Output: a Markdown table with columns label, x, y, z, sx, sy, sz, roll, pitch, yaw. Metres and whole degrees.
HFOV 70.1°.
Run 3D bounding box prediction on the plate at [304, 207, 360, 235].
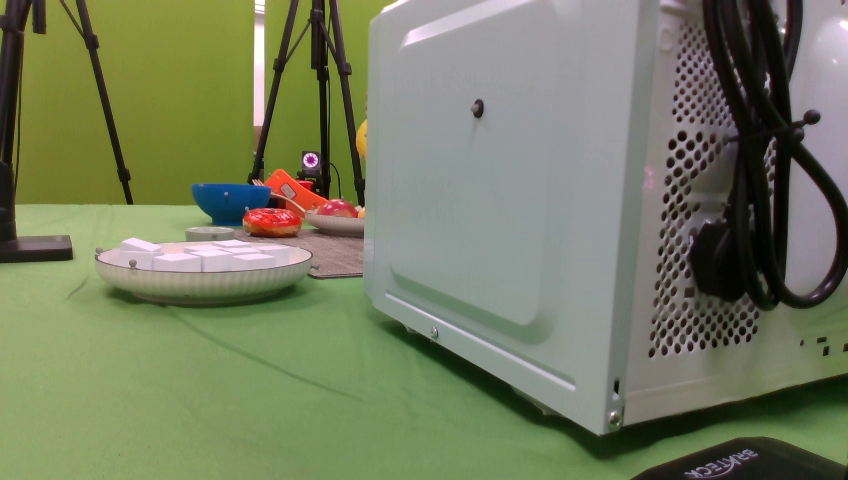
| label | x | y | z | sx | sy | sz | roll | pitch | yaw |
| --- | --- | --- | --- | --- | --- | --- | --- | --- | --- |
| plate | -0.123 | -0.037 | 1.149 | 0.209 | 0.038 | 0.209 | 2 | 7 | 0 |

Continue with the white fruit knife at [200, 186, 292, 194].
| label | x | y | z | sx | sy | sz | roll | pitch | yaw |
| --- | --- | --- | --- | --- | --- | --- | --- | --- | --- |
| white fruit knife | -0.399 | -0.111 | 1.368 | 0.208 | 0.016 | 0.027 | -4 | -19 | -30 |

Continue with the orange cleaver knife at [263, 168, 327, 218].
| label | x | y | z | sx | sy | sz | roll | pitch | yaw |
| --- | --- | --- | --- | --- | --- | --- | --- | --- | --- |
| orange cleaver knife | -0.262 | -0.088 | 1.353 | 0.211 | 0.077 | 0.012 | 28 | 13 | -1 |

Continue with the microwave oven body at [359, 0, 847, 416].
| label | x | y | z | sx | sy | sz | roll | pitch | yaw |
| --- | --- | --- | --- | --- | --- | --- | --- | --- | --- |
| microwave oven body | 0.211 | -0.047 | 0.474 | 0.444 | 0.260 | 0.324 | -1 | 7 | -28 |

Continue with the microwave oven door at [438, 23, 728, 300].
| label | x | y | z | sx | sy | sz | roll | pitch | yaw |
| --- | --- | --- | --- | --- | --- | --- | --- | --- | --- |
| microwave oven door | 0.181 | -0.072 | 0.621 | 0.358 | 0.243 | 0.039 | -2 | 8 | -29 |

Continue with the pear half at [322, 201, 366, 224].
| label | x | y | z | sx | sy | sz | roll | pitch | yaw |
| --- | --- | --- | --- | --- | --- | --- | --- | --- | --- |
| pear half | -0.157 | -0.059 | 1.197 | 0.088 | 0.031 | 0.070 | 12 | 30 | -4 |

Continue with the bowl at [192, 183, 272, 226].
| label | x | y | z | sx | sy | sz | roll | pitch | yaw |
| --- | --- | --- | --- | --- | --- | --- | --- | --- | --- |
| bowl | -0.381 | -0.071 | 1.202 | 0.151 | 0.077 | 0.151 | 3 | 7 | 0 |

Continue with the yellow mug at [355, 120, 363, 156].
| label | x | y | z | sx | sy | sz | roll | pitch | yaw |
| --- | --- | --- | --- | --- | --- | --- | --- | --- | --- |
| yellow mug | -0.066 | -0.185 | 1.065 | 0.100 | 0.131 | 0.063 | -20 | 40 | -19 |

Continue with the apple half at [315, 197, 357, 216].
| label | x | y | z | sx | sy | sz | roll | pitch | yaw |
| --- | --- | --- | --- | --- | --- | --- | --- | --- | --- |
| apple half | -0.162 | -0.052 | 1.121 | 0.081 | 0.053 | 0.074 | 4 | 8 | -14 |

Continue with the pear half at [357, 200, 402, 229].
| label | x | y | z | sx | sy | sz | roll | pitch | yaw |
| --- | --- | --- | --- | --- | --- | --- | --- | --- | --- |
| pear half | -0.075 | -0.046 | 1.132 | 0.076 | 0.056 | 0.110 | 12 | 6 | 31 |

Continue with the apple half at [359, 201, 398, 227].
| label | x | y | z | sx | sy | sz | roll | pitch | yaw |
| --- | --- | --- | --- | --- | --- | --- | --- | --- | --- |
| apple half | -0.088 | -0.058 | 1.191 | 0.081 | 0.033 | 0.081 | 9 | 30 | -5 |

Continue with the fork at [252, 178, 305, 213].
| label | x | y | z | sx | sy | sz | roll | pitch | yaw |
| --- | --- | --- | --- | --- | --- | --- | --- | --- | --- |
| fork | -0.295 | -0.084 | 1.292 | 0.206 | 0.018 | 0.028 | 29 | 10 | 25 |

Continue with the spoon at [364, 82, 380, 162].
| label | x | y | z | sx | sy | sz | roll | pitch | yaw |
| --- | --- | --- | --- | --- | --- | --- | --- | --- | --- |
| spoon | -0.092 | -0.225 | 1.139 | 0.021 | 0.193 | 0.042 | -19 | -36 | 33 |

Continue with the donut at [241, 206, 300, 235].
| label | x | y | z | sx | sy | sz | roll | pitch | yaw |
| --- | --- | --- | --- | --- | --- | --- | --- | --- | --- |
| donut | -0.263 | -0.032 | 1.039 | 0.099 | 0.048 | 0.099 | 4 | 10 | 0 |

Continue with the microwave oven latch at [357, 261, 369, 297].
| label | x | y | z | sx | sy | sz | roll | pitch | yaw |
| --- | --- | --- | --- | --- | --- | --- | --- | --- | --- |
| microwave oven latch | -0.019 | 0.033 | 0.530 | 0.079 | 0.029 | 0.030 | -1 | 7 | -26 |

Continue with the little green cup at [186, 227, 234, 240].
| label | x | y | z | sx | sy | sz | roll | pitch | yaw |
| --- | --- | --- | --- | --- | --- | --- | --- | --- | --- |
| little green cup | -0.285 | 0.005 | 0.805 | 0.061 | 0.038 | 0.061 | 2 | 8 | 0 |

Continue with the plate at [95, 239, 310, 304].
| label | x | y | z | sx | sy | sz | roll | pitch | yaw |
| --- | --- | --- | --- | --- | --- | --- | --- | --- | --- |
| plate | -0.224 | 0.031 | 0.629 | 0.208 | 0.039 | 0.207 | 2 | 8 | 0 |
